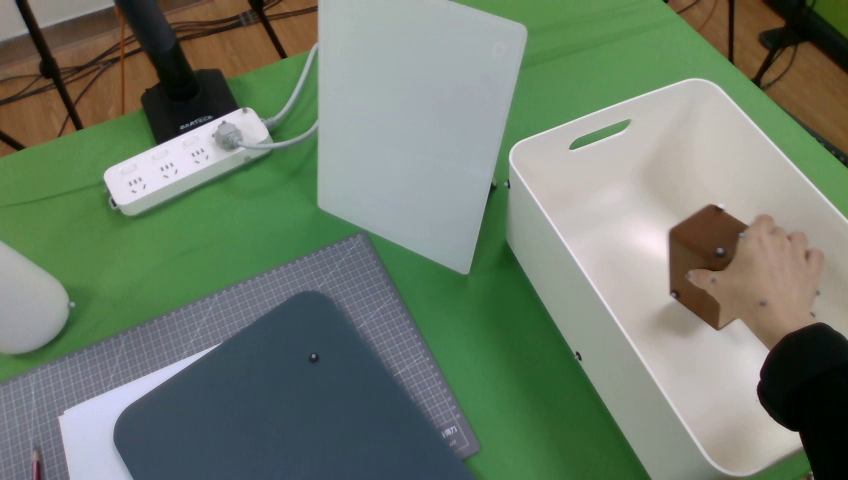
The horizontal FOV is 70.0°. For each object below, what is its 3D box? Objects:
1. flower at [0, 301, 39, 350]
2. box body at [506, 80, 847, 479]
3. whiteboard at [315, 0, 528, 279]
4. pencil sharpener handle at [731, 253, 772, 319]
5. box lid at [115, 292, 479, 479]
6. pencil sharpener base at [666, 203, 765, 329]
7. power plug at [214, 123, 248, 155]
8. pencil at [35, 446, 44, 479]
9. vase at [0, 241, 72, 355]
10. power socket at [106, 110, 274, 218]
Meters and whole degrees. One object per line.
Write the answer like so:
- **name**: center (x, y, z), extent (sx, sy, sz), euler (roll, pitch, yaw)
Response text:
- **flower**: center (-0.456, -0.017, 0.555), extent (0.038, 0.365, 0.043), euler (-35, 45, -26)
- **box body**: center (0.268, 0.040, 0.621), extent (0.254, 0.162, 0.360), euler (-21, 60, -12)
- **whiteboard**: center (0.008, -0.145, 0.693), extent (0.216, 0.308, 0.143), euler (25, 43, 16)
- **pencil sharpener handle**: center (0.318, 0.046, 0.577), extent (0.036, 0.068, 0.030), euler (-32, 42, -9)
- **box lid**: center (-0.113, 0.239, 0.596), extent (0.263, 0.015, 0.368), euler (-35, 65, -19)
- **pencil sharpener base**: center (0.298, 0.029, 0.622), extent (0.061, 0.108, 0.076), euler (-31, 42, -10)
- **power plug**: center (-0.247, -0.119, 0.780), extent (0.035, 0.053, 0.072), euler (-20, 61, -10)
- **pencil**: center (-0.363, 0.287, 0.572), extent (0.012, 0.012, 0.192), euler (-18, 58, -9)
- **vase**: center (-0.452, 0.043, 0.615), extent (0.098, 0.202, 0.097), euler (-1, 58, 2)
- **power socket**: center (-0.305, -0.103, 0.798), extent (0.227, 0.033, 0.071), euler (-29, 63, -16)
